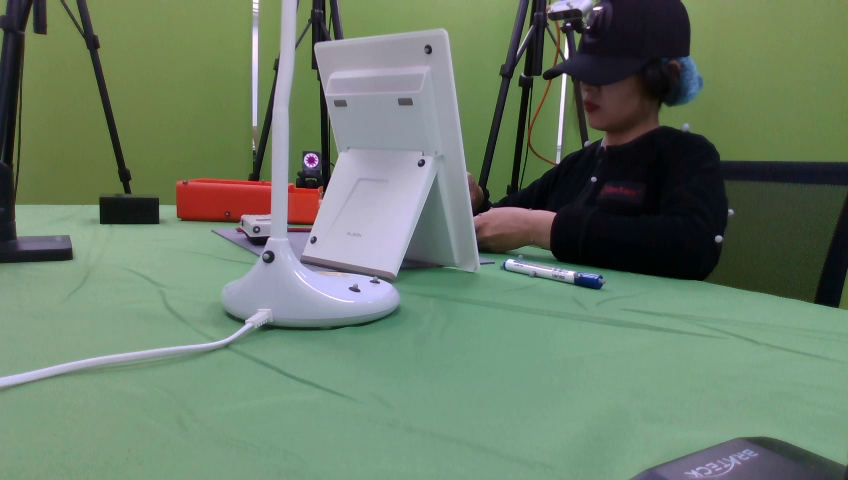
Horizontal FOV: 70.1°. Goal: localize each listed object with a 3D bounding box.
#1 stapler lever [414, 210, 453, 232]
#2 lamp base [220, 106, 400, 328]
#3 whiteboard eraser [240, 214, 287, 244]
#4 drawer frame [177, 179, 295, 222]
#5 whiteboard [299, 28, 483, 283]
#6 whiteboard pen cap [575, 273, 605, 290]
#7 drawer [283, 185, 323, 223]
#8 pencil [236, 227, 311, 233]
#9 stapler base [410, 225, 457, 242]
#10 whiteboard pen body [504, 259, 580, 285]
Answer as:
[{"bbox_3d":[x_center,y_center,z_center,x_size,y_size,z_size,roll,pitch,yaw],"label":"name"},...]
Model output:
[{"bbox_3d":[0.017,-0.038,1.128,0.027,0.040,0.117,1,6,-26],"label":"stapler lever"},{"bbox_3d":[-0.101,-0.023,0.531,0.160,0.180,0.179,4,10,10],"label":"lamp base"},{"bbox_3d":[-0.256,-0.018,0.958,0.056,0.042,0.112,0,8,-25],"label":"whiteboard eraser"},{"bbox_3d":[-0.397,-0.088,1.315,0.214,0.082,0.201,1,8,-7],"label":"drawer frame"},{"bbox_3d":[-0.075,-0.082,0.741,0.216,0.305,0.144,9,30,38],"label":"whiteboard"},{"bbox_3d":[0.197,0.048,0.719,0.018,0.018,0.033,-4,11,-41],"label":"whiteboard pen cap"},{"bbox_3d":[-0.329,-0.085,1.325,0.212,0.073,0.194,1,9,-7],"label":"drawer"},{"bbox_3d":[-0.239,-0.017,1.093,0.195,0.012,0.012,1,7,-27],"label":"pencil"},{"bbox_3d":[0.017,-0.014,1.129,0.041,0.024,0.130,1,5,-26],"label":"stapler base"},{"bbox_3d":[0.157,0.042,0.764,0.017,0.017,0.140,-4,11,-41],"label":"whiteboard pen body"}]
